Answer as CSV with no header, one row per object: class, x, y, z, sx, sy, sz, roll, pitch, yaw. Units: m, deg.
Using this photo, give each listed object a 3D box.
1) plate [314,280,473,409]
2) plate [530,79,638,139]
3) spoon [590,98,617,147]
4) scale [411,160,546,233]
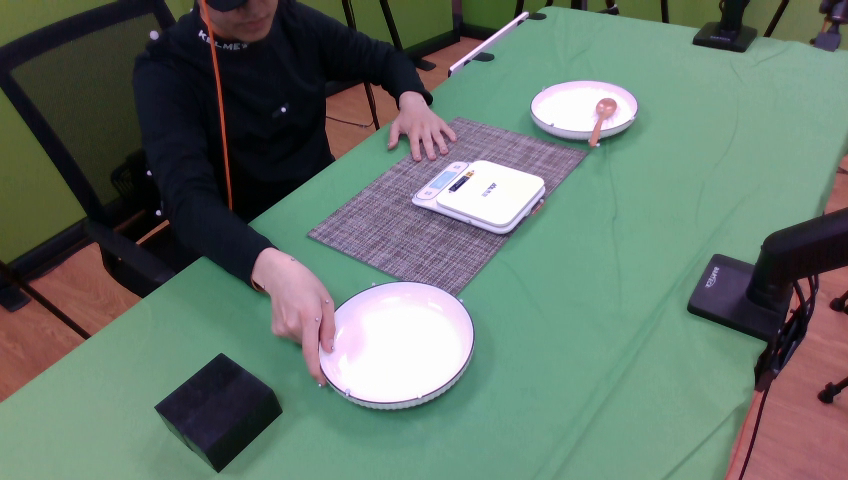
plate,-0.039,0.139,0.801,0.207,0.039,0.206,-4,41,4
plate,0.317,-0.257,1.210,0.209,0.038,0.208,-4,41,4
spoon,0.334,-0.225,1.145,0.041,0.022,0.194,11,37,20
scale,0.092,-0.083,1.039,0.199,0.032,0.149,22,48,30
